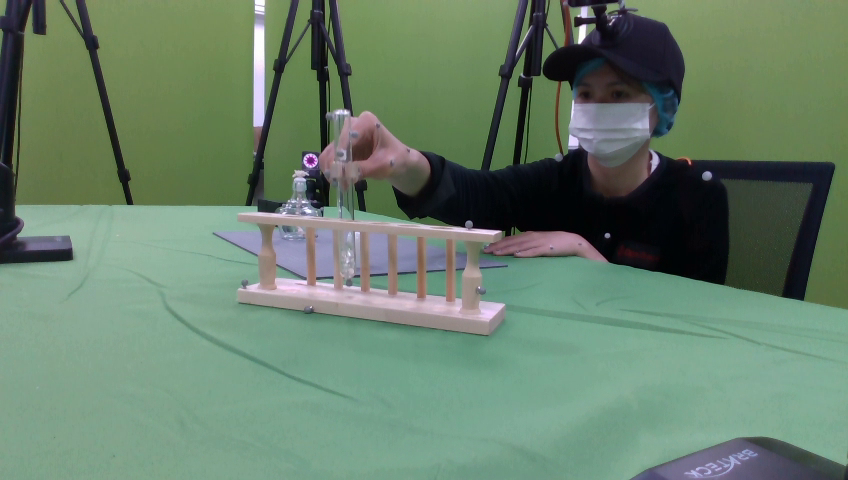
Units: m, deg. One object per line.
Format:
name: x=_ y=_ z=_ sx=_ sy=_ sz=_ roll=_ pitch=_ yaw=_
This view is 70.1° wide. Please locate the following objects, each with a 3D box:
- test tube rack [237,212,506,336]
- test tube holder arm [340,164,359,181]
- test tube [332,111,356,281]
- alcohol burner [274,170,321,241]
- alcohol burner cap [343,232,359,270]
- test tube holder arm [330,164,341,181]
test tube rack: x=-0.049 y=0.024 z=0.552 sx=0.242 sy=0.085 sz=0.067 roll=5 pitch=8 yaw=18
test tube holder arm: x=-0.071 y=-0.062 z=0.556 sx=0.010 sy=0.015 sz=0.087 roll=1 pitch=6 yaw=-14
test tube: x=-0.071 y=-0.038 z=0.535 sx=0.017 sy=0.150 sz=0.017 roll=-1 pitch=5 yaw=0
alcohol burner: x=-0.212 y=-0.058 z=1.015 sx=0.078 sy=0.119 sz=0.078 roll=4 pitch=6 yaw=0
alcohol burner cap: x=-0.087 y=0.013 z=0.777 sx=0.034 sy=0.048 sz=0.034 roll=3 pitch=7 yaw=0
test tube holder arm: x=-0.083 y=-0.067 z=0.599 sx=0.013 sy=0.015 sz=0.178 roll=2 pitch=6 yaw=-7
